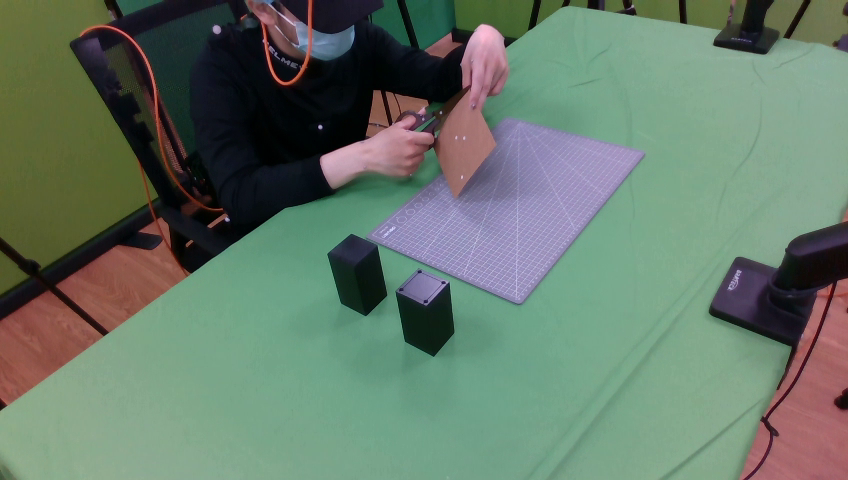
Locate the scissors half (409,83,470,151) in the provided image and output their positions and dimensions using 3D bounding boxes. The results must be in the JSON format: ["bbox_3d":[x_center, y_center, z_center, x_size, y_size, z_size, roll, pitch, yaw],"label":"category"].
[{"bbox_3d":[0.028,-0.216,1.068,0.040,0.175,0.013,39,40,-4],"label":"scissors half"}]

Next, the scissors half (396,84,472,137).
[{"bbox_3d":[0.014,-0.230,1.063,0.174,0.040,0.013,-23,26,34],"label":"scissors half"}]

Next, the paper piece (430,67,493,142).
[{"bbox_3d":[0.072,-0.251,1.122,0.008,0.135,0.138,41,39,-2],"label":"paper piece"}]

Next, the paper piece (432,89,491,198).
[{"bbox_3d":[0.060,-0.165,1.029,0.004,0.135,0.135,3,51,-31],"label":"paper piece"}]
